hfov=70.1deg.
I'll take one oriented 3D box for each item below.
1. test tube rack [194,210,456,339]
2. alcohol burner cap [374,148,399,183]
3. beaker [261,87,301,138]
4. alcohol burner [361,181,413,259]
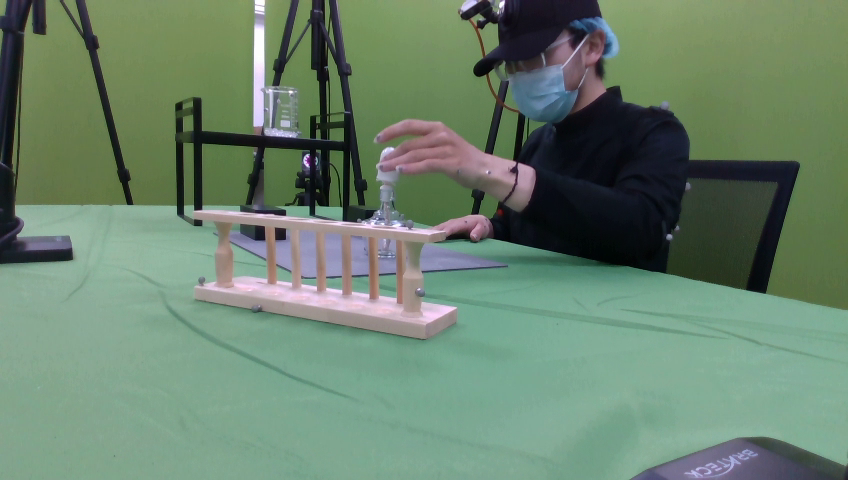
[{"bbox_3d":[-0.093,0.023,0.545,0.241,0.085,0.067,6,8,25],"label":"test tube rack"},{"bbox_3d":[-0.051,-0.105,0.853,0.034,0.048,0.034,12,7,-1],"label":"alcohol burner cap"},{"bbox_3d":[-0.298,-0.263,1.255,0.084,0.100,0.073,-5,10,-40],"label":"beaker"},{"bbox_3d":[-0.054,-0.033,0.871,0.078,0.119,0.078,1,9,0],"label":"alcohol burner"}]
